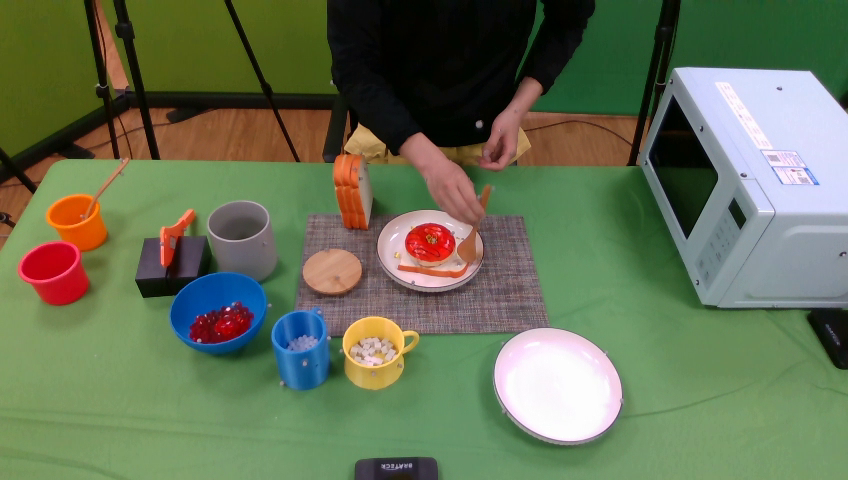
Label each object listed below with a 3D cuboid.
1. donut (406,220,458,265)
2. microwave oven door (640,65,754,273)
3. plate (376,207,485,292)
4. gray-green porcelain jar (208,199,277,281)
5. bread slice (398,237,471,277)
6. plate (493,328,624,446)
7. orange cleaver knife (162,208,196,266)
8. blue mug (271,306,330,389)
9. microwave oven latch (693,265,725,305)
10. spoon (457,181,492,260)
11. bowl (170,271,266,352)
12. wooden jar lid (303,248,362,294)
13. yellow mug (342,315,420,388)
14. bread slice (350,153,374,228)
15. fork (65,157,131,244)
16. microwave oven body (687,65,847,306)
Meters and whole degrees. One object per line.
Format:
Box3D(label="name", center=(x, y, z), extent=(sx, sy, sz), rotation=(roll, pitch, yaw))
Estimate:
Box3D(label="donut", center=(0.014, 0.004, 1.136), extent=(0.099, 0.048, 0.098), rotation=(1, 47, -1))
Box3D(label="microwave oven door", center=(0.523, -0.147, 1.193), extent=(0.039, 0.245, 0.353), rotation=(0, 47, -3))
Box3D(label="plate", center=(0.012, 0.021, 1.159), extent=(0.209, 0.038, 0.208), rotation=(2, 47, -2))
Box3D(label="gray-green porcelain jar", center=(-0.323, 0.007, 1.092), extent=(0.106, 0.127, 0.105), rotation=(2, 46, -2))
Box3D(label="bread slice", center=(0.025, 0.024, 1.159), extent=(0.131, 0.019, 0.104), rotation=(8, 47, 6))
Box3D(label="plate", center=(0.213, 0.236, 0.974), extent=(0.208, 0.039, 0.206), rotation=(2, 46, -2))
Box3D(label="orange cleaver knife", center=(-0.454, -0.010, 1.129), extent=(0.012, 0.077, 0.210), rotation=(-2, 17, -6))
Box3D(label="blue mug", center=(-0.188, 0.163, 0.969), extent=(0.082, 0.106, 0.116), rotation=(15, 47, 10))
Box3D(label="microwave oven latch", center=(0.523, 0.082, 1.115), extent=(0.030, 0.029, 0.078), rotation=(2, 46, -1))
Box3D(label="spoon", center=(0.092, -0.031, 1.071), extent=(0.041, 0.194, 0.021), rotation=(28, 43, 16))
Box3D(label="bowl", center=(-0.333, 0.132, 1.006), extent=(0.151, 0.077, 0.150), rotation=(2, 46, -2))
Box3D(label="wooden jar lid", center=(-0.169, 0.060, 1.122), extent=(0.108, 0.021, 0.107), rotation=(2, 45, -2))
Box3D(label="yellow mug", center=(-0.068, 0.177, 0.990), extent=(0.131, 0.064, 0.099), rotation=(-15, 50, -19))
Box3D(label="bread slice", center=(-0.123, -0.103, 1.206), extent=(0.018, 0.135, 0.106), rotation=(-2, 47, 7))
Box3D(label="fork", center=(-0.609, -0.074, 1.133), extent=(0.207, 0.019, 0.028), rotation=(-52, 50, 10))
Box3D(label="microwave oven body", center=(0.669, -0.111, 1.176), extent=(0.326, 0.261, 0.439), rotation=(0, 46, -3))
